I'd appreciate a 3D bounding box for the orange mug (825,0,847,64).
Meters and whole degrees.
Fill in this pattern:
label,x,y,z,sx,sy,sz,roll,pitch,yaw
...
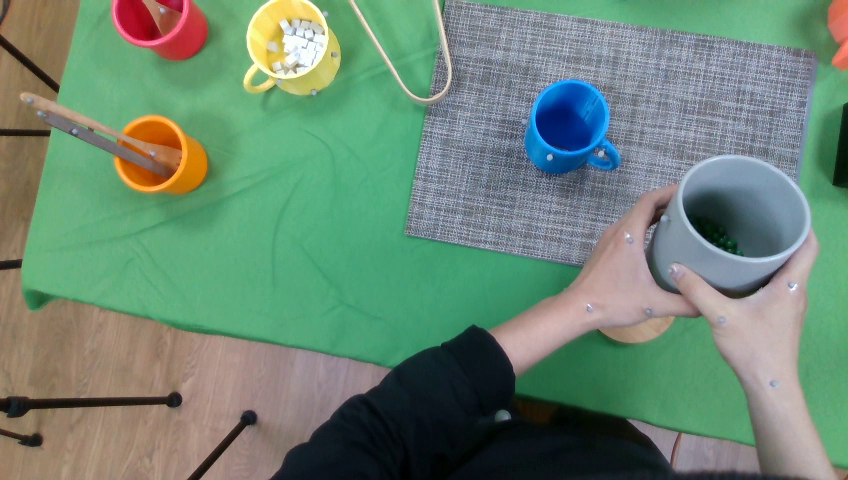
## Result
label,x,y,z,sx,sy,sz,roll,pitch,yaw
orange mug,0.510,-0.262,0.676,0.083,0.101,0.126,33,86,6

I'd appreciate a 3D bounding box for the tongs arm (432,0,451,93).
label,x,y,z,sx,sy,sz,roll,pitch,yaw
tongs arm,-0.017,-0.373,0.737,0.028,0.027,0.387,-14,93,-4

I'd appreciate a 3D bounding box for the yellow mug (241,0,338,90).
label,x,y,z,sx,sy,sz,roll,pitch,yaw
yellow mug,-0.174,-0.233,0.746,0.131,0.064,0.100,-41,85,3

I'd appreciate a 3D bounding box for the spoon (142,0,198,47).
label,x,y,z,sx,sy,sz,roll,pitch,yaw
spoon,-0.354,-0.310,0.725,0.041,0.021,0.196,-46,128,0

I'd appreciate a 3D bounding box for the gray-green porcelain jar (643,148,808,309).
label,x,y,z,sx,sy,sz,roll,pitch,yaw
gray-green porcelain jar,0.262,-0.003,0.548,0.106,0.127,0.105,-2,61,3

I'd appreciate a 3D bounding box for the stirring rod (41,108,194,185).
label,x,y,z,sx,sy,sz,roll,pitch,yaw
stirring rod,-0.356,-0.108,0.716,0.006,0.178,0.014,-1,68,48

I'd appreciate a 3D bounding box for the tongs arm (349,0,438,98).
label,x,y,z,sx,sy,sz,roll,pitch,yaw
tongs arm,-0.094,-0.340,0.739,0.051,0.026,0.385,-28,93,0

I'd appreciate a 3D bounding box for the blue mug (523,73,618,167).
label,x,y,z,sx,sy,sz,roll,pitch,yaw
blue mug,0.170,-0.123,0.690,0.116,0.106,0.082,36,90,6

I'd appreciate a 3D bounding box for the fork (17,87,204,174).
label,x,y,z,sx,sy,sz,roll,pitch,yaw
fork,-0.361,-0.127,0.714,0.209,0.018,0.028,24,88,-38

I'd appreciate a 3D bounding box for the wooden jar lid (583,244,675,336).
label,x,y,z,sx,sy,sz,roll,pitch,yaw
wooden jar lid,0.243,0.059,0.721,0.108,0.021,0.108,0,91,7
